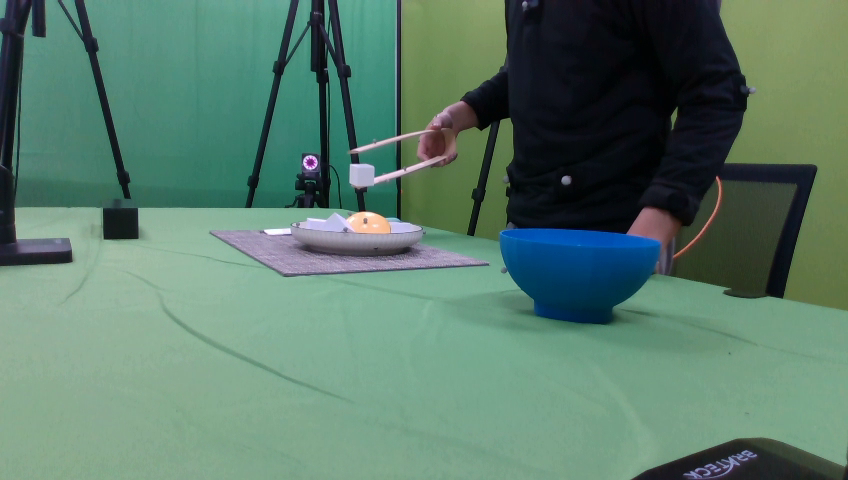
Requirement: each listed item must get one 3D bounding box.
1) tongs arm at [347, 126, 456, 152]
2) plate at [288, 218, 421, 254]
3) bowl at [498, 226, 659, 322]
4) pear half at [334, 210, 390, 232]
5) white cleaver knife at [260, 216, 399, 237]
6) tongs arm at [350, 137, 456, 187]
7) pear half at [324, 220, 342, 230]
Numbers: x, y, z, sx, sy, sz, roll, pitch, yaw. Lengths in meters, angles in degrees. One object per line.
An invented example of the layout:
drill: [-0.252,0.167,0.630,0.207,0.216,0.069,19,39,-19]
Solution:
tongs arm: [-0.028,-0.188,1.131,0.027,0.028,0.389,-1,14,27]
plate: [-0.109,-0.007,0.956,0.208,0.039,0.207,2,7,0]
bowl: [0.145,0.032,0.584,0.151,0.077,0.151,2,7,0]
pear half: [-0.107,-0.017,0.920,0.110,0.056,0.076,-5,5,-20]
white cleaver knife: [-0.169,-0.021,1.156,0.288,0.021,0.065,-7,21,-33]
tongs arm: [-0.026,-0.154,1.141,0.026,0.051,0.386,3,15,27]
pear half: [-0.126,-0.019,1.001,0.088,0.031,0.070,8,4,0]
